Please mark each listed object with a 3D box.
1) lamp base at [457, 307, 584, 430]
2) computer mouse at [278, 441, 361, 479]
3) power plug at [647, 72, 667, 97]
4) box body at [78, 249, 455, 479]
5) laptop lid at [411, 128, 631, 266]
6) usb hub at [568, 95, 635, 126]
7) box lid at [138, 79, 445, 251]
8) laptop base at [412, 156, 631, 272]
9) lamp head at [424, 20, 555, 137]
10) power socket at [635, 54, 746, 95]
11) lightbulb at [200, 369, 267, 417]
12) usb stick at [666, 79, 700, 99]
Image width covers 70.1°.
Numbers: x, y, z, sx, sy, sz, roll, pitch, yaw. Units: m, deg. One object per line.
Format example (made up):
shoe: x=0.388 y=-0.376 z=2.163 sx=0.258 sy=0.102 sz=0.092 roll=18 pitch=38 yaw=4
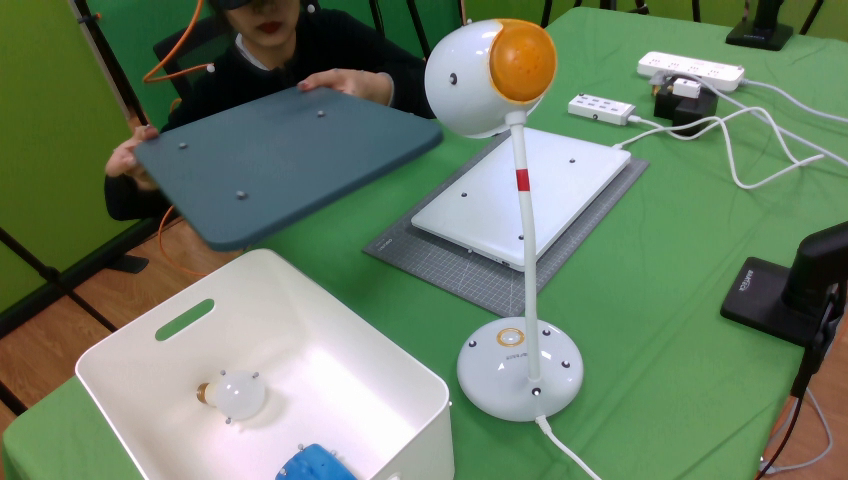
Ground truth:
lamp base: x=0.115 y=0.108 z=0.713 sx=0.161 sy=0.181 sz=0.178 roll=-17 pitch=43 yaw=-8
computer mouse: x=-0.112 y=0.269 z=0.666 sx=0.063 sy=0.041 sz=0.116 roll=-38 pitch=43 yaw=-27
power plug: x=0.494 y=-0.320 z=1.260 sx=0.073 sy=0.052 sz=0.035 roll=1 pitch=19 yaw=-41
box body: x=-0.168 y=0.198 z=0.675 sx=0.255 sy=0.161 sz=0.361 roll=-36 pitch=47 yaw=-28
laptop lid: x=0.172 y=-0.093 z=1.049 sx=0.239 sy=0.013 sz=0.358 roll=24 pitch=50 yaw=36
usb hub: x=0.360 y=-0.264 z=1.228 sx=0.124 sy=0.025 sz=0.049 roll=24 pitch=49 yaw=34
box lid: x=-0.171 y=-0.109 z=0.702 sx=0.264 sy=0.015 sz=0.368 roll=-30 pitch=36 yaw=-22
laptop base: x=0.176 y=-0.084 z=1.055 sx=0.233 sy=0.023 sz=0.355 roll=21 pitch=48 yaw=36
lamp head: x=0.069 y=-0.153 z=0.572 sx=0.113 sy=0.112 sz=0.122 roll=-21 pitch=16 yaw=-14
power socket: x=0.564 y=-0.357 z=1.293 sx=0.225 sy=0.033 sz=0.072 roll=24 pitch=51 yaw=33
lightbulb: x=-0.249 y=0.196 z=0.775 sx=0.107 sy=0.060 sz=0.059 roll=-9 pitch=35 yaw=34
usb stick: x=0.492 y=-0.288 z=1.152 sx=0.058 sy=0.027 sz=0.021 roll=20 pitch=50 yaw=34
